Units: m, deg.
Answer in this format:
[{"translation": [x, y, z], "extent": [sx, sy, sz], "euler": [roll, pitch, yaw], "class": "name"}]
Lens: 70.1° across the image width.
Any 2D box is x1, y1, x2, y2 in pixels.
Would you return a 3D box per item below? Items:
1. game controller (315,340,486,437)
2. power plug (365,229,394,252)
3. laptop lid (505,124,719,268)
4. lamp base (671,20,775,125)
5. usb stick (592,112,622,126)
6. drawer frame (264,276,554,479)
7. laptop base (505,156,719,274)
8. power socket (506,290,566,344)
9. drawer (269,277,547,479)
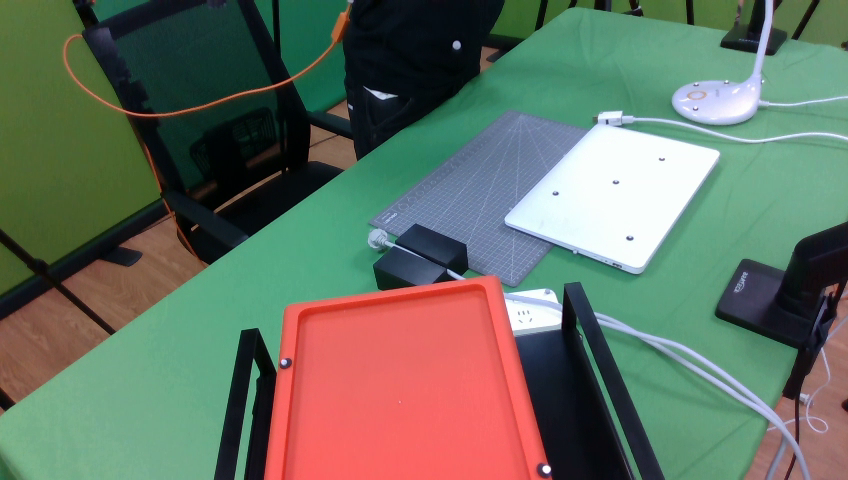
[{"translation": [-0.021, 0.120, 0.534], "extent": [0.155, 0.052, 0.096], "euler": [-3, 38, 1], "class": "game controller"}, {"translation": [-0.067, 0.010, 0.954], "extent": [0.035, 0.053, 0.072], "euler": [-39, 52, 2], "class": "power plug"}, {"translation": [0.323, -0.093, 1.021], "extent": [0.240, 0.013, 0.358], "euler": [23, 49, 32], "class": "laptop lid"}, {"translation": [0.582, -0.332, 1.154], "extent": [0.179, 0.181, 0.160], "euler": [2, 41, 7], "class": "lamp base"}, {"translation": [0.361, -0.239, 1.196], "extent": [0.059, 0.021, 0.027], "euler": [4, 42, 27], "class": "usb stick"}, {"translation": [-0.016, 0.137, 0.490], "extent": [0.202, 0.083, 0.212], "euler": [-8, 41, -2], "class": "drawer frame"}, {"translation": [0.326, -0.083, 1.028], "extent": [0.233, 0.023, 0.355], "euler": [21, 48, 32], "class": "laptop base"}, {"translation": [0.081, 0.112, 0.822], "extent": [0.227, 0.033, 0.072], "euler": [-7, 41, 0], "class": "power socket"}, {"translation": [-0.018, 0.137, 0.493], "extent": [0.195, 0.073, 0.210], "euler": [-7, 41, -1], "class": "drawer"}]
